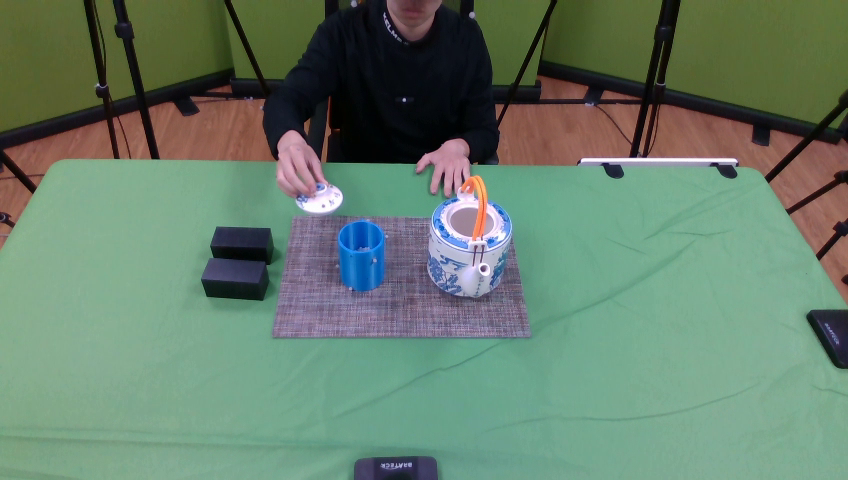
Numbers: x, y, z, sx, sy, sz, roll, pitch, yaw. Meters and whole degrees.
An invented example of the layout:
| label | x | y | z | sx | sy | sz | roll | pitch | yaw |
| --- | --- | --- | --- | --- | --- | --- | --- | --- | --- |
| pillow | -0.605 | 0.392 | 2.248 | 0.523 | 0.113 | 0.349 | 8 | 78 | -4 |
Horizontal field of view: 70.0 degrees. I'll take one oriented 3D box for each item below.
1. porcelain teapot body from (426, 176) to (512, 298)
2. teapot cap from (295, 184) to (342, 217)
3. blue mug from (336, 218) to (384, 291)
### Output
| label | x | y | z | sx | sy | sz | roll | pitch | yaw |
| --- | --- | --- | --- | --- | --- | --- | --- | --- | --- |
| porcelain teapot body | 0.085 | 0.009 | 1.051 | 0.145 | 0.226 | 0.204 | -4 | 47 | -9 |
| teapot cap | -0.192 | -0.078 | 1.101 | 0.085 | 0.044 | 0.084 | 0 | 44 | 0 |
| blue mug | -0.115 | 0.018 | 1.110 | 0.082 | 0.106 | 0.116 | 1 | 46 | -3 |
